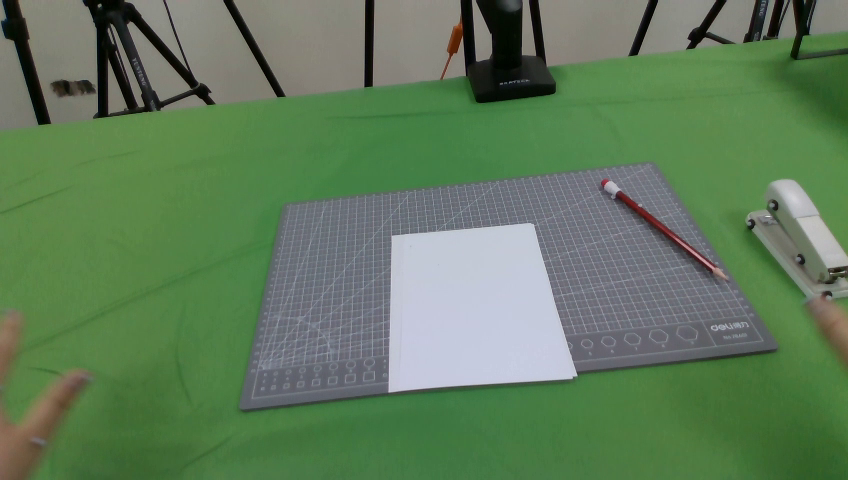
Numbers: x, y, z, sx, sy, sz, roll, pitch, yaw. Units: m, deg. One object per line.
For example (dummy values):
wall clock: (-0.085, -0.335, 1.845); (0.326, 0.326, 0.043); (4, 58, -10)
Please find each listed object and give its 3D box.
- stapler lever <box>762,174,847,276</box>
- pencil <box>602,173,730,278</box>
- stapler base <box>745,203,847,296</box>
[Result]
stapler lever: (0.356, -0.018, 0.565); (0.027, 0.040, 0.117); (-10, 40, 1)
pencil: (0.244, -0.020, 0.626); (0.012, 0.012, 0.192); (-19, 42, -14)
stapler base: (0.358, 0.000, 0.582); (0.041, 0.025, 0.129); (-10, 41, 1)
